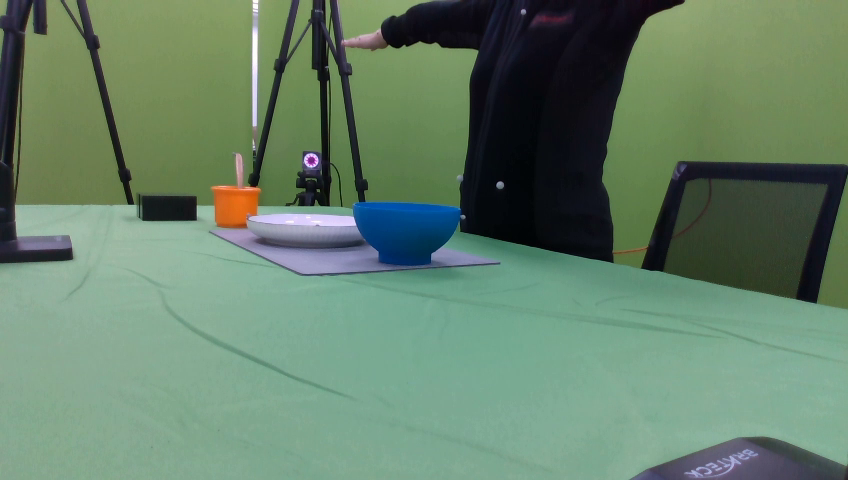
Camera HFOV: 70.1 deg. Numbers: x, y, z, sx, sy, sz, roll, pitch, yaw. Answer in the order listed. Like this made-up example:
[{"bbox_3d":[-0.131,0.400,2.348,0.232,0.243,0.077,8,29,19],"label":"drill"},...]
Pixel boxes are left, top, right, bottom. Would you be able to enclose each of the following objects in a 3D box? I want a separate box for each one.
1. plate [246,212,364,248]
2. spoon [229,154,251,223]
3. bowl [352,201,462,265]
[{"bbox_3d":[-0.185,-0.017,0.995,0.209,0.038,0.209,3,8,0],"label":"plate"},{"bbox_3d":[-0.367,-0.106,1.208,0.042,0.193,0.021,2,-37,-20],"label":"spoon"},{"bbox_3d":[-0.025,-0.010,0.831,0.151,0.077,0.151,3,7,0],"label":"bowl"}]
